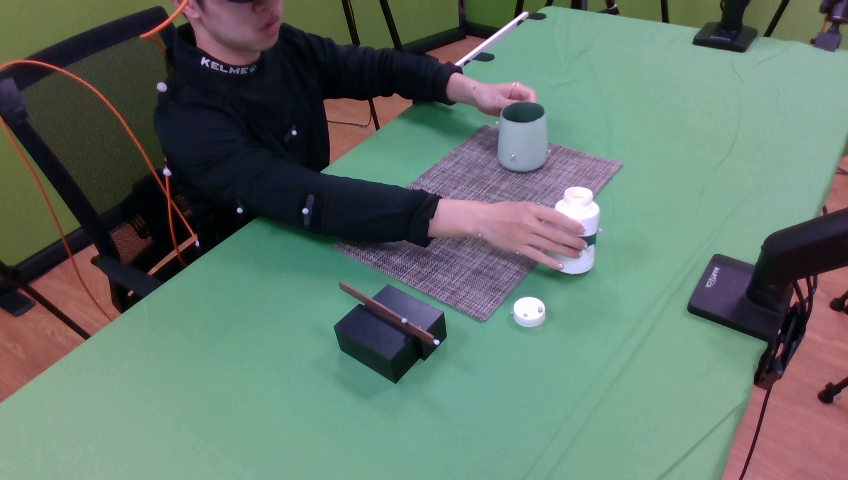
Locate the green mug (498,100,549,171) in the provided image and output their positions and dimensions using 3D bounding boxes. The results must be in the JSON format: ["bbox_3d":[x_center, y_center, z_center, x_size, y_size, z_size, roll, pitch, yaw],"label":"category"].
[{"bbox_3d":[0.182,-0.197,1.101,0.092,0.105,0.125,3,41,12],"label":"green mug"}]

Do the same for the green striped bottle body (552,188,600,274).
[{"bbox_3d":[0.220,-0.015,0.874,0.063,0.119,0.063,-3,32,2],"label":"green striped bottle body"}]

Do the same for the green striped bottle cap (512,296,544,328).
[{"bbox_3d":[0.144,0.099,0.837,0.044,0.020,0.044,-1,43,2],"label":"green striped bottle cap"}]

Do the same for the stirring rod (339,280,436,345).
[{"bbox_3d":[-0.052,0.093,0.795,0.174,0.014,0.006,27,47,33],"label":"stirring rod"}]
